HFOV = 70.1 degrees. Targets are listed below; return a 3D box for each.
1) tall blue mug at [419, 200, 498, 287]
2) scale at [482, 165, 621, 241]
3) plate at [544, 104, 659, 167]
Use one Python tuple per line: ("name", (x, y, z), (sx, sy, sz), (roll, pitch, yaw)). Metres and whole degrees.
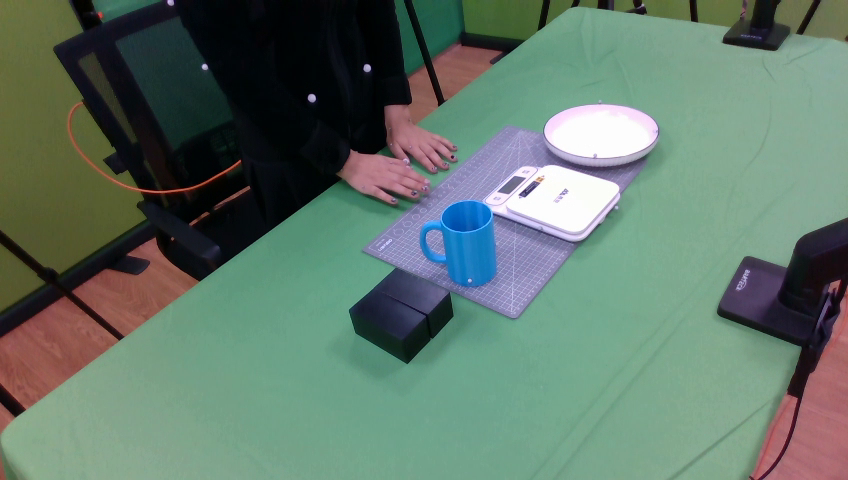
("tall blue mug", (0.053, 0.010, 0.889), (0.107, 0.108, 0.077), (-15, 41, -7))
("scale", (0.211, -0.070, 1.014), (0.199, 0.032, 0.149), (23, 49, 33))
("plate", (0.328, -0.192, 1.132), (0.209, 0.038, 0.208), (-4, 39, 4))
